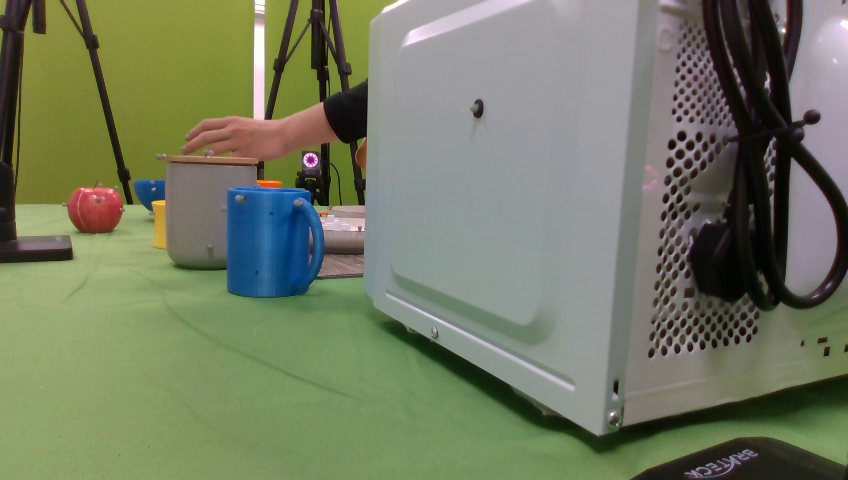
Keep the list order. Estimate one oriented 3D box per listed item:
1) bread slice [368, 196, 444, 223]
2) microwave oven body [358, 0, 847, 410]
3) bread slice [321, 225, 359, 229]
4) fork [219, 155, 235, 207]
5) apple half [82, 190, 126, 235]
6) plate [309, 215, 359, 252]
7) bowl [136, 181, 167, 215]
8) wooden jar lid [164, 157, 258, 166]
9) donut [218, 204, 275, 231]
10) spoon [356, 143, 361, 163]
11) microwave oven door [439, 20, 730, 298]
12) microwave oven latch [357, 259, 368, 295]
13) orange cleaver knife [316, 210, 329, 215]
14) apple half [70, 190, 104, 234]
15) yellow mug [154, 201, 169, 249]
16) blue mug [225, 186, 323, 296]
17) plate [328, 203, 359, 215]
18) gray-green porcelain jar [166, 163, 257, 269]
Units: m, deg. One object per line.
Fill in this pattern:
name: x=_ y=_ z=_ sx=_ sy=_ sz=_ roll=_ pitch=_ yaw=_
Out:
bread slice: x=-0.040 y=-0.056 z=1.142 sx=0.107 sy=0.018 sz=0.133 roll=-8 pitch=-8 yaw=-39
microwave oven body: x=0.210 y=-0.051 z=0.471 sx=0.444 sy=0.260 sz=0.324 roll=-1 pitch=7 yaw=-28
bread slice: x=-0.125 y=-0.009 z=0.938 sx=0.131 sy=0.019 sz=0.105 roll=6 pitch=9 yaw=32
fork: x=-0.459 y=-0.134 z=1.415 sx=0.028 sy=0.018 sz=0.207 roll=-1 pitch=-34 yaw=-24
apple half: x=-0.516 y=-0.046 z=0.994 sx=0.032 sy=0.081 sz=0.081 roll=0 pitch=6 yaw=26
plate: x=-0.130 y=-0.011 z=0.945 sx=0.208 sy=0.039 sz=0.207 roll=2 pitch=7 yaw=0
bowl: x=-0.497 y=-0.076 z=1.221 sx=0.151 sy=0.077 sz=0.151 roll=2 pitch=8 yaw=0
wooden jar lid: x=-0.261 y=-0.093 z=0.746 sx=0.108 sy=0.020 sz=0.108 roll=0 pitch=9 yaw=0
donut: x=-0.316 y=-0.039 z=1.083 sx=0.099 sy=0.048 sz=0.099 roll=2 pitch=7 yaw=0
spoon: x=-0.117 y=-0.237 z=1.268 sx=0.042 sy=0.193 sz=0.021 roll=20 pitch=-25 yaw=-32
microwave oven door: x=0.181 y=-0.076 z=0.618 sx=0.358 sy=0.243 sz=0.039 roll=-2 pitch=8 yaw=-28
microwave oven latch: x=-0.019 y=0.031 z=0.529 sx=0.079 sy=0.029 sz=0.030 roll=-1 pitch=7 yaw=-26
orange cleaver knife: x=-0.259 y=-0.064 z=1.423 sx=0.212 sy=0.012 sz=0.077 roll=-4 pitch=3 yaw=-30
apple half: x=-0.552 y=-0.047 z=1.010 sx=0.053 sy=0.074 sz=0.081 roll=0 pitch=10 yaw=26
yellow mug: x=-0.337 y=-0.023 z=0.899 sx=0.130 sy=0.064 sz=0.100 roll=8 pitch=10 yaw=35
blue mug: x=-0.148 y=0.000 z=0.618 sx=0.116 sy=0.106 sz=0.083 roll=7 pitch=9 yaw=33
plate: x=-0.102 y=-0.053 z=1.299 sx=0.209 sy=0.038 sz=0.209 roll=2 pitch=8 yaw=0
gray-green porcelain jar: x=-0.263 y=-0.031 z=0.754 sx=0.106 sy=0.126 sz=0.106 roll=2 pitch=7 yaw=0
